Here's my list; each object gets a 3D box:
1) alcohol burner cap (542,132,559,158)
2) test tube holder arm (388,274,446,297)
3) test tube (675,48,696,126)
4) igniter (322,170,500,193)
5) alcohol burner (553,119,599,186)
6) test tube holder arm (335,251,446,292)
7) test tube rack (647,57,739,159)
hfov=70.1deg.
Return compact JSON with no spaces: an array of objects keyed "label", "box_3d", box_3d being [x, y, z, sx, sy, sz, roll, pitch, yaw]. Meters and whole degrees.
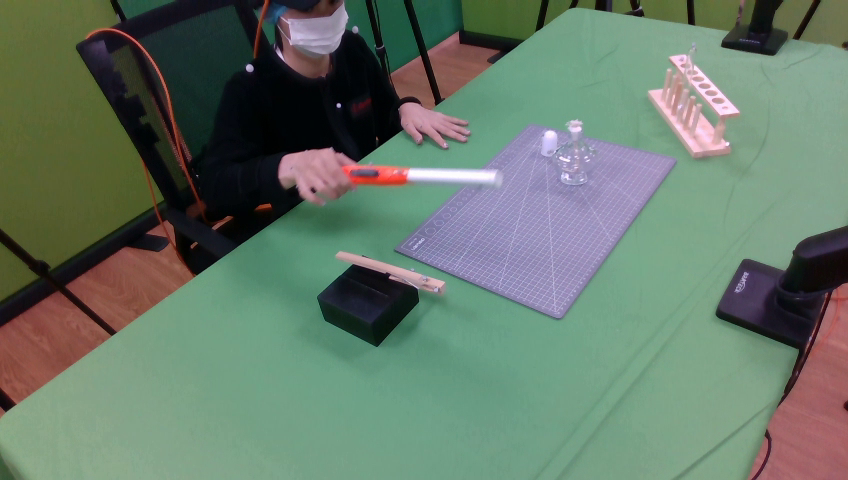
[{"label":"alcohol burner cap","box_3d":[0.237,-0.180,1.134,0.034,0.048,0.033,-5,41,5]},{"label":"test tube holder arm","box_3d":[-0.010,0.060,0.838,0.087,0.010,0.015,17,40,24]},{"label":"test tube","box_3d":[0.481,-0.279,1.112,0.017,0.151,0.017,-5,40,5]},{"label":"igniter","box_3d":[-0.029,-0.081,0.832,0.275,0.057,0.025,5,82,27]},{"label":"alcohol burner","box_3d":[0.261,-0.153,1.042,0.078,0.119,0.077,-6,40,6]},{"label":"test tube holder arm","box_3d":[-0.050,0.043,0.853,0.177,0.013,0.015,17,40,24]},{"label":"test tube rack","box_3d":[0.504,-0.257,1.153,0.067,0.085,0.241,-8,40,1]}]
